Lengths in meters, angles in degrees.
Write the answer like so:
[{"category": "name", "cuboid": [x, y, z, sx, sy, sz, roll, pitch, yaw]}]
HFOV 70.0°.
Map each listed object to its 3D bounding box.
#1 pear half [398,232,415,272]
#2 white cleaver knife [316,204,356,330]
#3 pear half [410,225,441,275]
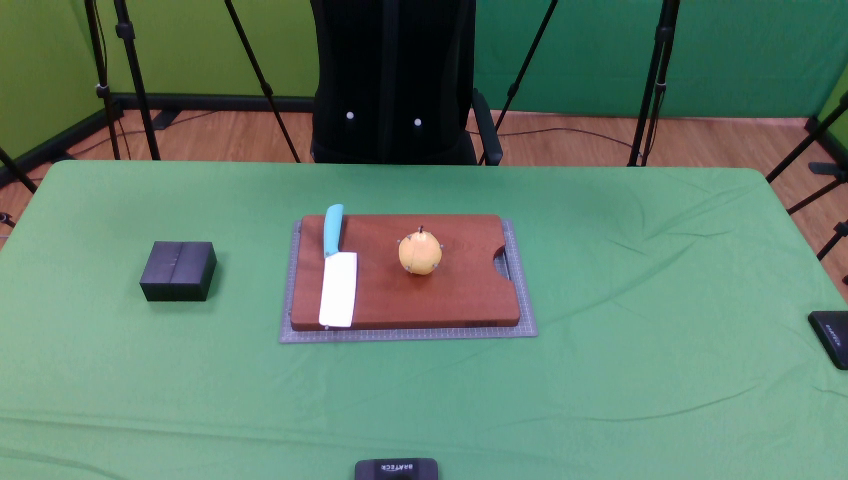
[{"category": "pear half", "cuboid": [-0.031, 0.017, 1.092, 0.031, 0.088, 0.070, 1, 51, -2]}, {"category": "white cleaver knife", "cuboid": [-0.158, 0.044, 1.111, 0.066, 0.021, 0.284, 3, 51, -9]}, {"category": "pear half", "cuboid": [0.004, 0.013, 1.085, 0.056, 0.110, 0.076, 1, 51, -3]}]
